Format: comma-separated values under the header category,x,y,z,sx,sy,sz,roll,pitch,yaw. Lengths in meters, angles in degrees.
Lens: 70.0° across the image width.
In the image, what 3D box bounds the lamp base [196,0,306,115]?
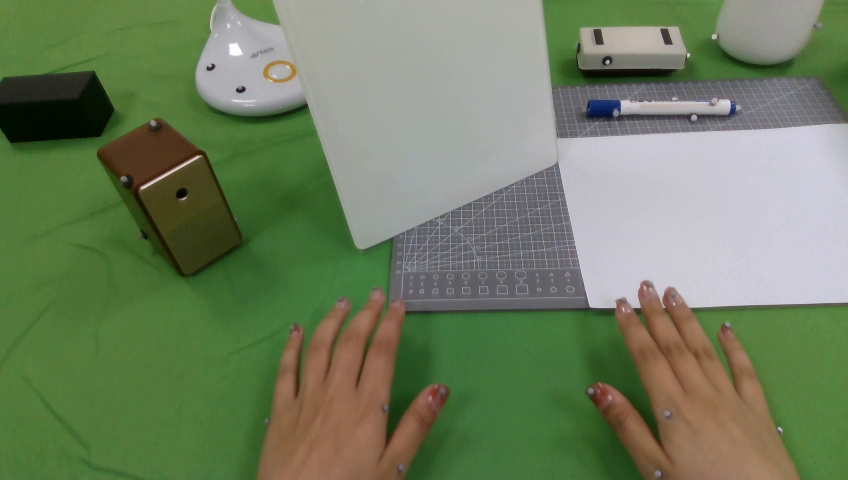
category,x,y,z,sx,sy,sz,roll,pitch,yaw
lamp base,-0.196,-0.253,0.650,0.177,0.182,0.160,32,58,31

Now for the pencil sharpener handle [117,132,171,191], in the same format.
category,x,y,z,sx,sy,sz,roll,pitch,yaw
pencil sharpener handle,-0.245,-0.071,0.525,0.030,0.068,0.036,35,68,31

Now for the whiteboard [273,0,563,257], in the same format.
category,x,y,z,sx,sy,sz,roll,pitch,yaw
whiteboard,-0.023,-0.181,0.528,0.217,0.308,0.142,-24,32,-15

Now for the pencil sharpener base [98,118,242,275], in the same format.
category,x,y,z,sx,sy,sz,roll,pitch,yaw
pencil sharpener base,-0.210,-0.036,0.508,0.061,0.108,0.076,-38,56,-26

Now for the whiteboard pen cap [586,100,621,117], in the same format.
category,x,y,z,sx,sy,sz,roll,pitch,yaw
whiteboard pen cap,0.185,-0.135,0.624,0.033,0.018,0.018,3,49,3

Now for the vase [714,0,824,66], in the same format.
category,x,y,z,sx,sy,sz,roll,pitch,yaw
vase,0.375,-0.284,0.623,0.098,0.202,0.097,-1,48,2

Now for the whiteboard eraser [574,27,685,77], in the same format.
category,x,y,z,sx,sy,sz,roll,pitch,yaw
whiteboard eraser,0.226,-0.208,0.673,0.112,0.042,0.055,0,46,5

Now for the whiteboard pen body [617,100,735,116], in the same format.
category,x,y,z,sx,sy,sz,roll,pitch,yaw
whiteboard pen body,0.244,-0.134,0.620,0.140,0.017,0.017,1,48,5
